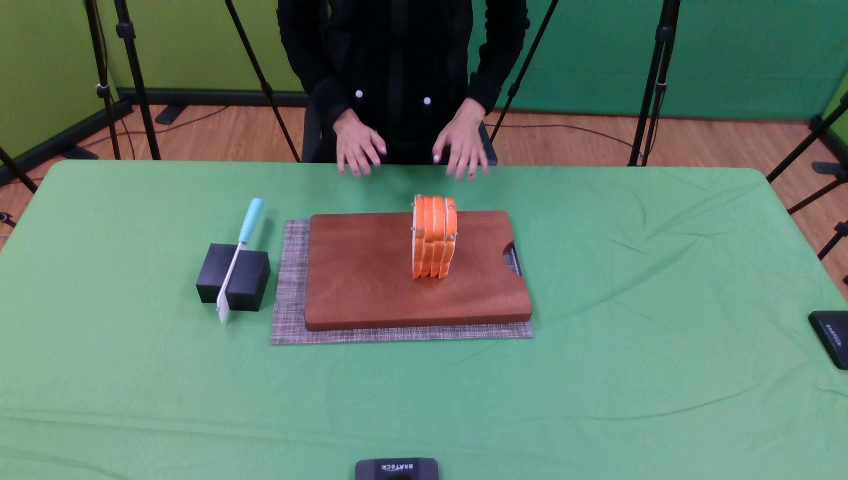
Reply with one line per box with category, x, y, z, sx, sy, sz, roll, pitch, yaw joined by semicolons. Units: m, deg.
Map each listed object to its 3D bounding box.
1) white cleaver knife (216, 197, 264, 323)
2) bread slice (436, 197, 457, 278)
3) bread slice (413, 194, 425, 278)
white cleaver knife;-0.341;0.027;1.118;0.021;0.066;0.284;9;45;-3
bread slice;0.040;-0.010;1.097;0.019;0.132;0.104;4;48;-7
bread slice;-0.010;-0.015;1.095;0.018;0.135;0.106;0;43;-3
